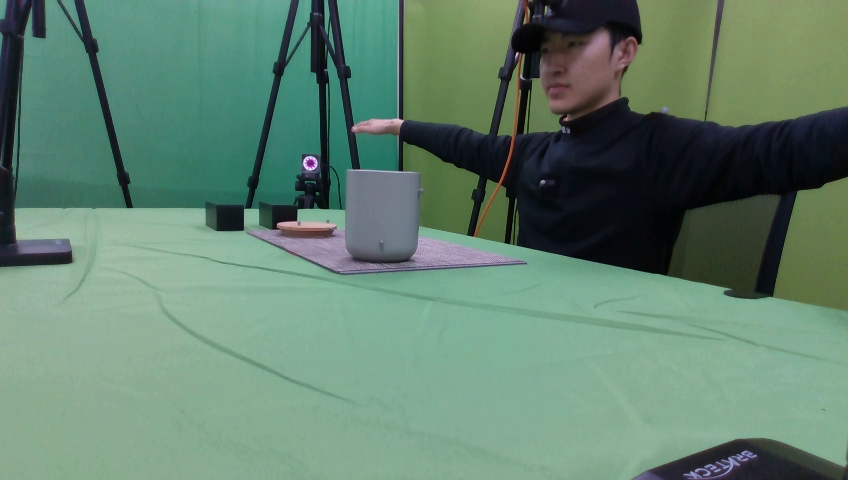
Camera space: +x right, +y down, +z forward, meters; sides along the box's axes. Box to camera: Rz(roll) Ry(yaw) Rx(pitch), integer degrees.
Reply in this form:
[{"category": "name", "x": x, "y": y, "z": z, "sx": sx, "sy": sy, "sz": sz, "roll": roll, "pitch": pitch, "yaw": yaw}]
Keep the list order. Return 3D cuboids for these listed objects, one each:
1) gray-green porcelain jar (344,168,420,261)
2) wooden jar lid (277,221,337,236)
[{"category": "gray-green porcelain jar", "x": -0.059, "y": -0.037, "z": 0.858, "sx": 0.106, "sy": 0.126, "sz": 0.106, "roll": 2, "pitch": 7, "yaw": 0}, {"category": "wooden jar lid", "x": -0.215, "y": -0.021, "z": 1.112, "sx": 0.108, "sy": 0.020, "sz": 0.108, "roll": 3, "pitch": 7, "yaw": 0}]
